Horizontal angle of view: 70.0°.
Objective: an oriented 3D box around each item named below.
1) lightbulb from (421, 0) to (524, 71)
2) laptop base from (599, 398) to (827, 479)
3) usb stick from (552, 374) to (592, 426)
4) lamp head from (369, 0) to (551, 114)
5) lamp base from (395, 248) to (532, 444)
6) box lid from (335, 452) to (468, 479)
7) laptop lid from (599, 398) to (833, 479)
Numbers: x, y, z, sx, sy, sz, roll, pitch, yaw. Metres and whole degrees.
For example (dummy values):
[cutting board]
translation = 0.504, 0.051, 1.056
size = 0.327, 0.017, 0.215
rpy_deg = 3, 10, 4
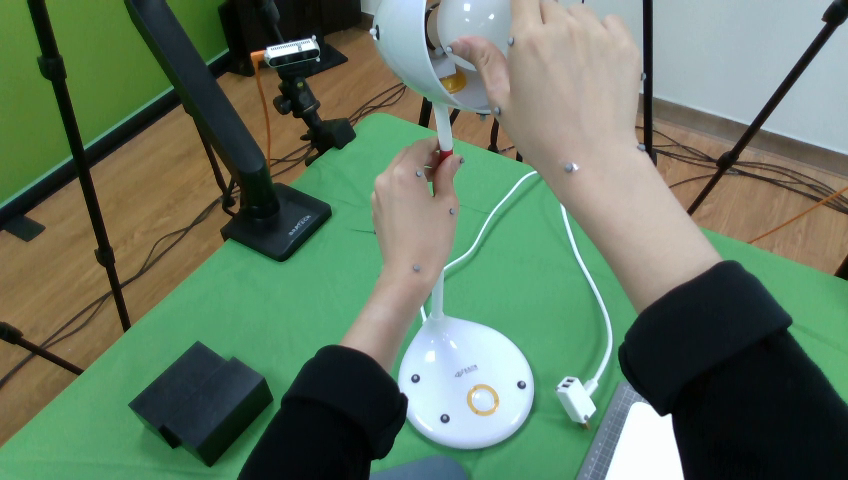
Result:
[lightbulb]
translation = 0.023, -0.146, 0.417
size = 0.059, 0.060, 0.107
rpy_deg = -31, 26, -24
[laptop base]
translation = 0.332, 0.319, 0.574
size = 0.352, 0.023, 0.234
rpy_deg = 21, 56, 19
[usb stick]
translation = 0.169, 0.182, 0.681
size = 0.027, 0.059, 0.021
rpy_deg = -35, 14, -31
[lamp head]
translation = 0.015, -0.150, 0.445
size = 0.112, 0.113, 0.122
rpy_deg = -31, 23, -24
[lamp base]
translation = 0.036, 0.105, 0.662
size = 0.161, 0.182, 0.177
rpy_deg = -30, 51, -23
[box lid]
translation = -0.041, 0.384, 0.530
size = 0.264, 0.015, 0.367
rpy_deg = -13, 50, -10
[laptop lid]
translation = 0.331, 0.313, 0.564
size = 0.354, 0.013, 0.240
rpy_deg = 22, 55, 20
